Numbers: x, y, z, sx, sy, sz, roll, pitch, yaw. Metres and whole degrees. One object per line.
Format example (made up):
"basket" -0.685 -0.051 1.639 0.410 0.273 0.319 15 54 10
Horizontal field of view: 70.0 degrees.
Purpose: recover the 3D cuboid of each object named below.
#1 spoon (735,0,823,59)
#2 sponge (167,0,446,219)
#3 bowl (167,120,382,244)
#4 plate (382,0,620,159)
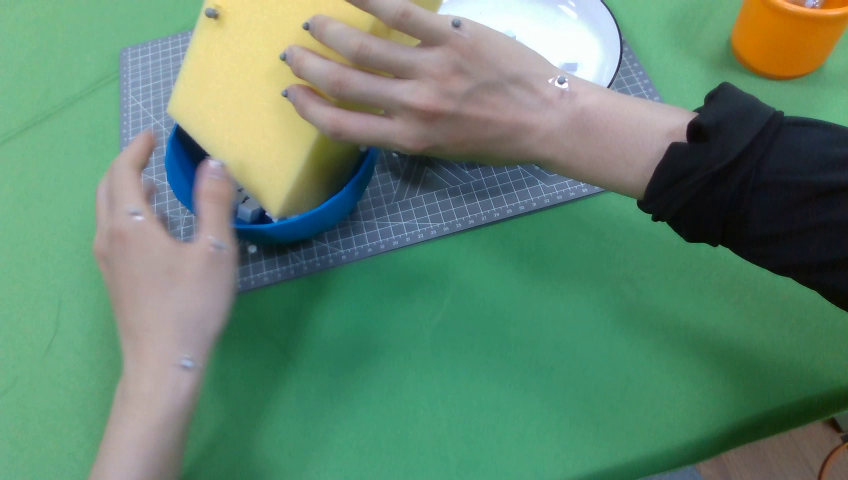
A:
"spoon" 0.324 -0.209 0.450 0.022 0.194 0.041 4 54 -43
"sponge" -0.073 -0.131 0.385 0.117 0.061 0.207 41 117 16
"bowl" -0.101 -0.053 0.453 0.151 0.077 0.150 -2 61 4
"plate" 0.055 -0.149 0.511 0.209 0.038 0.207 -3 62 5
